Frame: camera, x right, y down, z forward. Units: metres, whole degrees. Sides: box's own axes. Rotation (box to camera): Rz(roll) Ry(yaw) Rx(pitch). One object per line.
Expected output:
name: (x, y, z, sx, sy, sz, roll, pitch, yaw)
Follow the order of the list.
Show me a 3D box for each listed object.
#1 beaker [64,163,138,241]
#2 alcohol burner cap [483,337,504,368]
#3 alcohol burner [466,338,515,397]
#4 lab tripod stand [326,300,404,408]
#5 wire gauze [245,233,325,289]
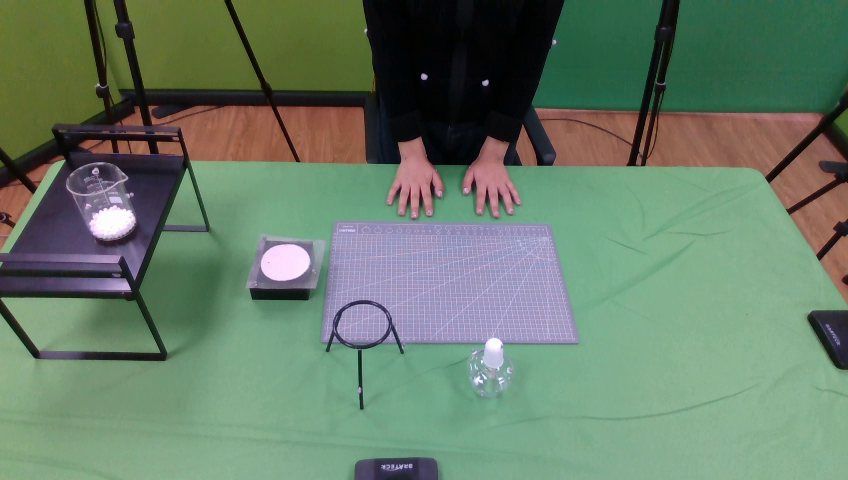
beaker: (-0.478, -0.055, 0.910, 0.084, 0.101, 0.073, -9, 48, -13)
alcohol burner cap: (0.108, 0.169, 0.928, 0.034, 0.048, 0.033, 0, 40, 0)
alcohol burner: (0.106, 0.194, 0.952, 0.078, 0.120, 0.077, 1, 45, 0)
lab tripod stand: (-0.099, 0.167, 0.950, 0.148, 0.132, 0.147, 1, 47, -1)
wire gauze: (-0.245, 0.038, 1.082, 0.121, 0.011, 0.124, 5, 47, -3)
